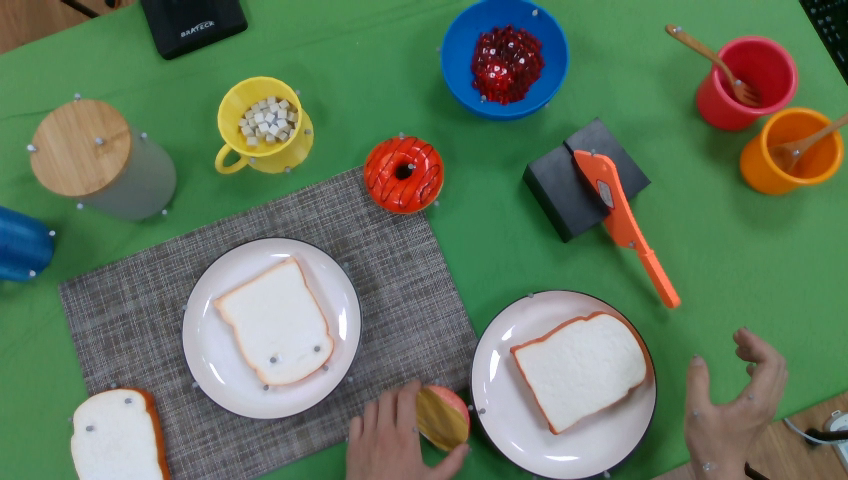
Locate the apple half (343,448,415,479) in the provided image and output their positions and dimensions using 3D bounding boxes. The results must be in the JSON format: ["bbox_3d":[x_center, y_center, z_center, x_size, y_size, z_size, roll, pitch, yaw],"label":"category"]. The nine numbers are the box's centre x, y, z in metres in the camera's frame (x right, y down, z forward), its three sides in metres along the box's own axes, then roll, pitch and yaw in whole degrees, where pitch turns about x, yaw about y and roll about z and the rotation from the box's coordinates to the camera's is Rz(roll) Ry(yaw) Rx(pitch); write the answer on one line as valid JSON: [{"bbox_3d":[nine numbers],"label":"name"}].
[{"bbox_3d":[-0.053,0.273,0.668,0.074,0.053,0.080,31,82,9],"label":"apple half"}]

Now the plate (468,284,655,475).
[{"bbox_3d":[0.153,0.155,0.691,0.209,0.038,0.208,0,80,2],"label":"plate"}]

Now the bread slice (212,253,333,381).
[{"bbox_3d":[-0.168,0.095,0.708,0.107,0.018,0.133,-33,80,-4],"label":"bread slice"}]

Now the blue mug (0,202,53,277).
[{"bbox_3d":[-0.515,0.008,0.701,0.082,0.106,0.116,41,83,9],"label":"blue mug"}]

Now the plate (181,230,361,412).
[{"bbox_3d":[-0.175,0.093,0.707,0.207,0.039,0.207,0,80,2],"label":"plate"}]

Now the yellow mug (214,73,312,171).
[{"bbox_3d":[-0.205,-0.132,0.739,0.099,0.064,0.131,44,84,8],"label":"yellow mug"}]

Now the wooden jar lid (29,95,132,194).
[{"bbox_3d":[-0.361,-0.100,0.643,0.108,0.021,0.108,-1,78,3],"label":"wooden jar lid"}]

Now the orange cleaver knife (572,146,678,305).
[{"bbox_3d":[0.230,-0.017,0.699,0.012,0.077,0.212,-33,102,-11],"label":"orange cleaver knife"}]

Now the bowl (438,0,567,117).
[{"bbox_3d":[0.092,-0.211,0.739,0.151,0.077,0.151,0,80,2],"label":"bowl"}]

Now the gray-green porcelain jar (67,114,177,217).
[{"bbox_3d":[-0.359,-0.087,0.704,0.106,0.127,0.105,0,79,2],"label":"gray-green porcelain jar"}]

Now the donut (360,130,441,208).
[{"bbox_3d":[-0.028,-0.085,0.733,0.099,0.048,0.098,0,80,1],"label":"donut"}]

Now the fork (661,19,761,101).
[{"bbox_3d":[0.335,-0.205,0.696,0.209,0.018,0.028,17,75,-37],"label":"fork"}]

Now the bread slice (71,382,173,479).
[{"bbox_3d":[-0.354,0.232,0.697,0.105,0.019,0.131,-15,81,-2],"label":"bread slice"}]

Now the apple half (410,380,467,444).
[{"bbox_3d":[0.021,0.191,0.686,0.081,0.081,0.033,49,46,9],"label":"apple half"}]

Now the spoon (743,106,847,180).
[{"bbox_3d":[0.453,-0.129,0.679,0.022,0.194,0.041,-16,73,-47],"label":"spoon"}]
